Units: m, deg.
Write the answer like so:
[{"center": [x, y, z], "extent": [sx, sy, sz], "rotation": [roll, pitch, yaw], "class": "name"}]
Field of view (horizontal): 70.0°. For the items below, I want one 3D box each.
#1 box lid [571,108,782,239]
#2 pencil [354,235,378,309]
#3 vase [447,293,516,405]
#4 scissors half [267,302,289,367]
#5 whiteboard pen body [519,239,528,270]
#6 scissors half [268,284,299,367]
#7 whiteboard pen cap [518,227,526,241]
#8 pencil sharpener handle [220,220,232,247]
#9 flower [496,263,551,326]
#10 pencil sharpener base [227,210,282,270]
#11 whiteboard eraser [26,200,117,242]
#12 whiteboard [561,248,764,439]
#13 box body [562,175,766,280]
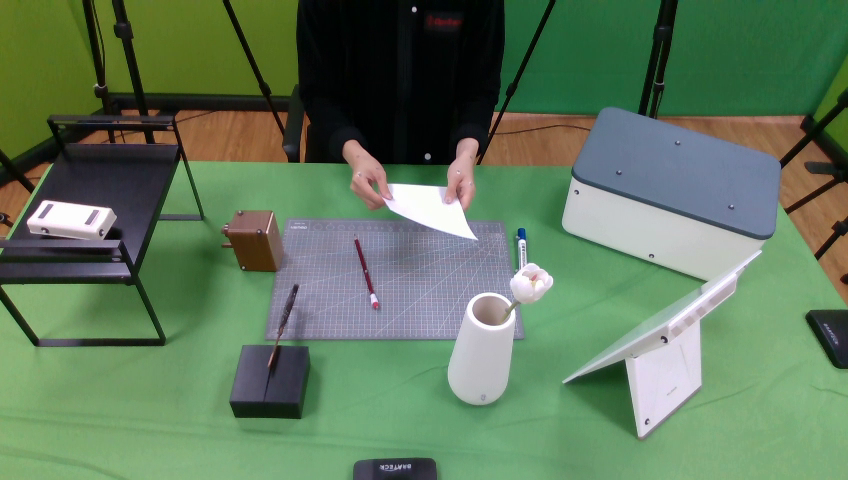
[{"center": [0.491, -0.139, 1.168], "extent": [0.370, 0.015, 0.262], "rotation": [21, 49, 15], "class": "box lid"}, {"center": [-0.113, 0.055, 1.144], "extent": [0.012, 0.012, 0.192], "rotation": [-10, 46, -13], "class": "pencil"}, {"center": [0.091, 0.169, 0.921], "extent": [0.098, 0.201, 0.097], "rotation": [3, 47, -3], "class": "vase"}, {"center": [-0.239, 0.150, 0.997], "extent": [0.013, 0.040, 0.174], "rotation": [24, 24, -13], "class": "scissors half"}, {"center": [0.193, 0.035, 1.180], "extent": [0.017, 0.017, 0.140], "rotation": [6, 48, 1], "class": "whiteboard pen body"}, {"center": [-0.230, 0.135, 0.986], "extent": [0.013, 0.040, 0.174], "rotation": [19, 43, -10], "class": "scissors half"}, {"center": [0.197, -0.009, 1.219], "extent": [0.018, 0.018, 0.033], "rotation": [6, 51, 1], "class": "whiteboard pen cap"}, {"center": [-0.362, -0.009, 1.105], "extent": [0.030, 0.068, 0.036], "rotation": [1, 52, 1], "class": "pencil sharpener handle"}, {"center": [0.102, 0.121, 0.853], "extent": [0.044, 0.363, 0.038], "rotation": [-2, 64, -10], "class": "flower"}, {"center": [-0.311, 0.001, 1.112], "extent": [0.077, 0.107, 0.061], "rotation": [1, 47, 1], "class": "pencil sharpener base"}, {"center": [-0.532, -0.026, 0.919], "extent": [0.113, 0.042, 0.055], "rotation": [7, 45, 3], "class": "whiteboard eraser"}, {"center": [0.386, 0.176, 0.905], "extent": [0.217, 0.306, 0.143], "rotation": [-26, 72, -27], "class": "whiteboard"}, {"center": [0.486, -0.088, 1.222], "extent": [0.363, 0.161, 0.253], "rotation": [20, 48, 15], "class": "box body"}]
